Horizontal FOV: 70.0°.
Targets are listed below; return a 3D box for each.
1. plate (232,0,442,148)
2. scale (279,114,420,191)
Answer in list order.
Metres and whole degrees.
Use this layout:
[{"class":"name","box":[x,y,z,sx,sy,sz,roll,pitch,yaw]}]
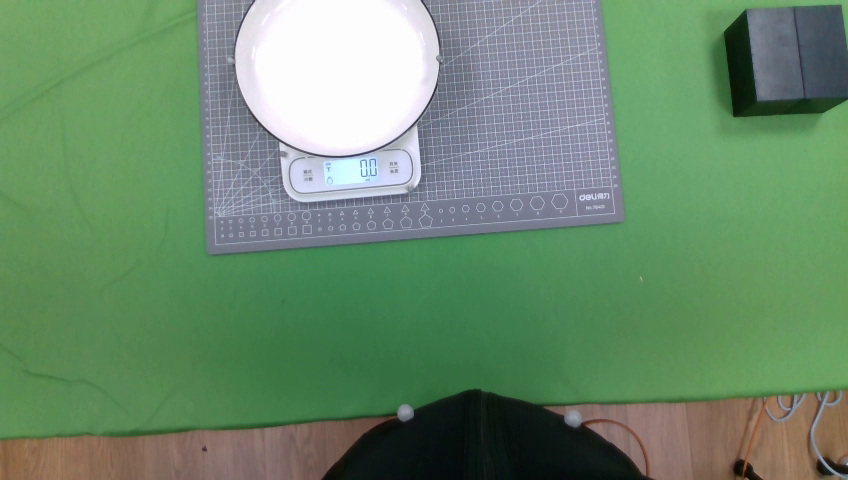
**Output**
[{"class":"plate","box":[-0.086,-0.192,0.621,0.209,0.038,0.208,0,84,-1]},{"class":"scale","box":[-0.085,-0.158,0.651,0.149,0.031,0.200,-5,85,0]}]
